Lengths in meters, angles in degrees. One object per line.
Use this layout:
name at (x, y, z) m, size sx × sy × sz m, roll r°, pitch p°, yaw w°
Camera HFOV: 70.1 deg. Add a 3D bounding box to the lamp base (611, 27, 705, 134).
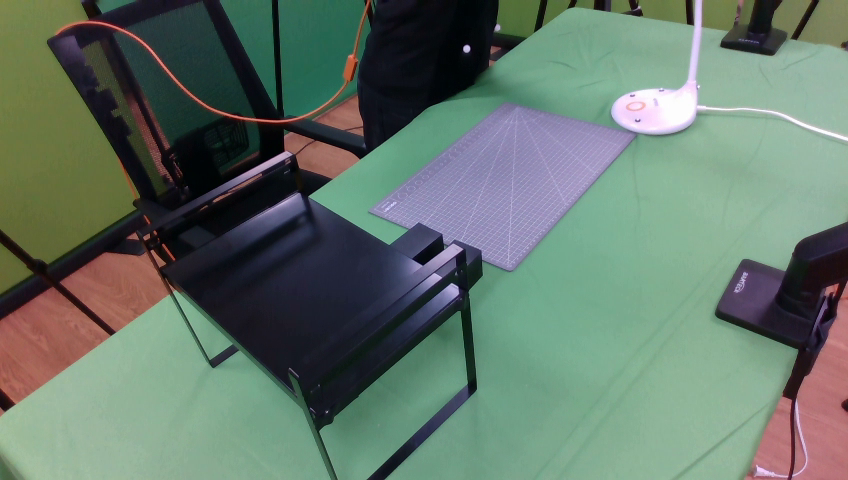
lamp base at (0.459, -0.316, 1.154) m, size 0.179 × 0.181 × 0.159 m, roll -5°, pitch 41°, yaw -1°
